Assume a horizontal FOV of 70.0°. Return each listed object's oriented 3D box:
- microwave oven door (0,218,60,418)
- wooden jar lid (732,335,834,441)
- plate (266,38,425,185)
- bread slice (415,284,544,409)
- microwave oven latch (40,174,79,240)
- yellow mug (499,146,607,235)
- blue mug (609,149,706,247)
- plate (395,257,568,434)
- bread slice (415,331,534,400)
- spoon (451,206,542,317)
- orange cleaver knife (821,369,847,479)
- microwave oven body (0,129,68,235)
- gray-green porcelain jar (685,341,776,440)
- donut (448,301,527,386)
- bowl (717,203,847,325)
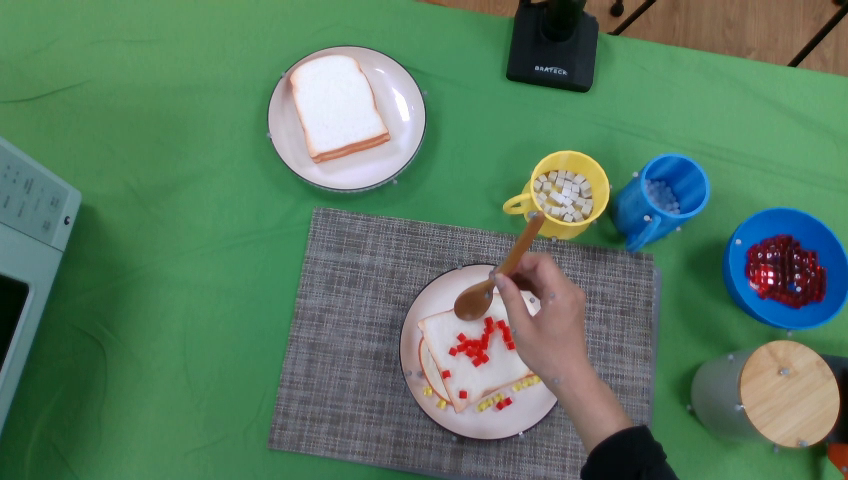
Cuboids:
[{"bbox_3d":[-0.488,0.139,0.584,0.039,0.245,0.354,11,75,1],"label":"microwave oven door"},{"bbox_3d":[0.373,0.155,0.634,0.108,0.021,0.108,1,78,-4],"label":"wooden jar lid"},{"bbox_3d":[-0.103,-0.167,0.805,0.208,0.039,0.206,1,75,-2],"label":"plate"},{"bbox_3d":[0.067,0.109,0.677,0.134,0.018,0.106,-25,84,-15],"label":"bread slice"},{"bbox_3d":[-0.449,-0.042,0.737,0.030,0.029,0.079,14,76,1],"label":"microwave oven latch"},{"bbox_3d":[0.161,-0.059,0.775,0.131,0.064,0.099,-11,75,-4],"label":"yellow mug"},{"bbox_3d":[0.281,-0.042,0.757,0.082,0.106,0.116,29,76,6],"label":"blue mug"},{"bbox_3d":[0.068,0.126,0.734,0.209,0.038,0.208,1,75,-2],"label":"plate"},{"bbox_3d":[0.058,0.134,0.735,0.131,0.019,0.104,-22,76,-11],"label":"bread slice"},{"bbox_3d":[0.072,0.027,0.595,0.042,0.194,0.021,9,57,-15],"label":"spoon"},{"bbox_3d":[0.489,0.242,0.704,0.012,0.077,0.212,8,101,0],"label":"orange cleaver knife"},{"bbox_3d":[-0.623,0.073,0.599,0.326,0.261,0.439,11,76,0],"label":"microwave oven body"},{"bbox_3d":[0.371,0.172,0.695,0.106,0.127,0.105,1,75,-2],"label":"gray-green porcelain jar"},{"bbox_3d":[0.075,0.121,0.707,0.099,0.048,0.098,5,76,-20],"label":"donut"},{"bbox_3d":[0.430,0.037,0.757,0.151,0.077,0.150,1,76,-2],"label":"bowl"}]
